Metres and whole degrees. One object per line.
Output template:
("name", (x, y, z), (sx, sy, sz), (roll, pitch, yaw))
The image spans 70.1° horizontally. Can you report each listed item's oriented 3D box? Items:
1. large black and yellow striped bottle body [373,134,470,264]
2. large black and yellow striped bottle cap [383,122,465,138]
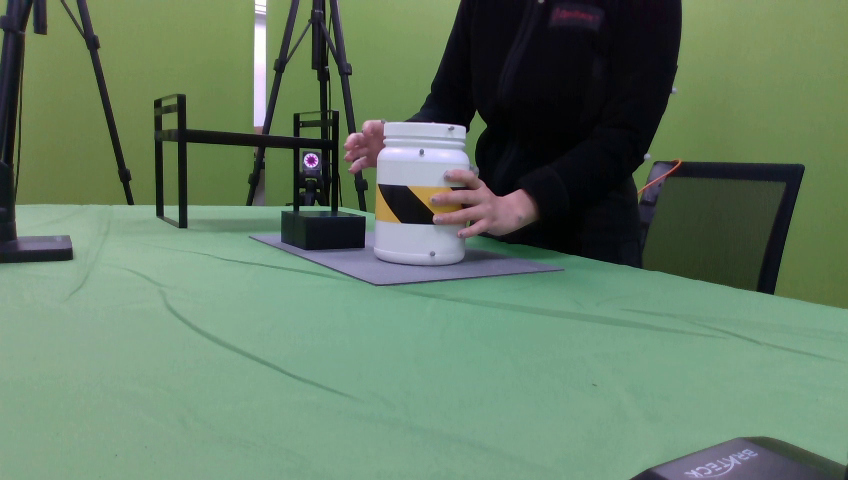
("large black and yellow striped bottle body", (-0.003, -0.065, 0.845), (0.131, 0.184, 0.130), (2, 7, 0))
("large black and yellow striped bottle cap", (0.001, -0.152, 0.835), (0.115, 0.019, 0.115), (2, 9, 0))
